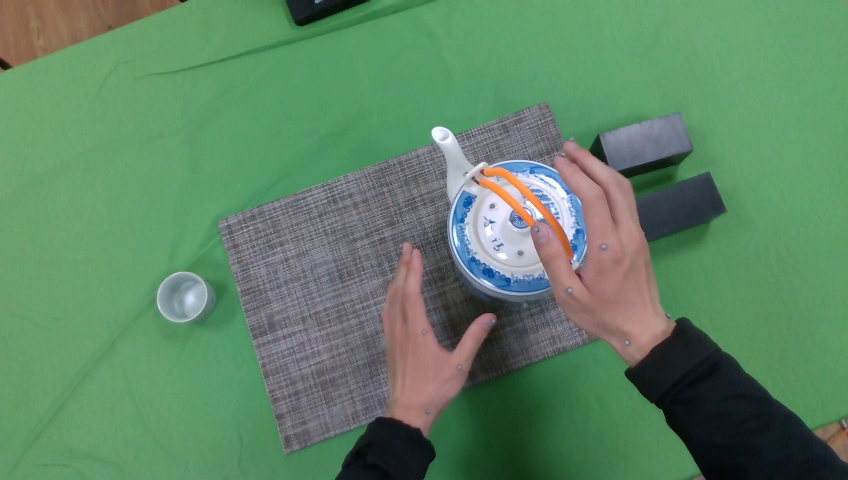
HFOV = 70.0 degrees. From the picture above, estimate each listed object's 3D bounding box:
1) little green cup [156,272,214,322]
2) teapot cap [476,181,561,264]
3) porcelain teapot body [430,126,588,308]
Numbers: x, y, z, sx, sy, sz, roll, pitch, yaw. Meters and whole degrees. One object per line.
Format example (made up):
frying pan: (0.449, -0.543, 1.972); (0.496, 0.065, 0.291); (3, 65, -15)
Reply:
little green cup: (-0.290, 0.071, 0.743); (0.061, 0.039, 0.061); (-1, 78, 4)
teapot cap: (0.093, -0.019, 0.596); (0.085, 0.044, 0.084); (-1, 76, 3)
porcelain teapot body: (0.075, -0.031, 0.640); (0.145, 0.226, 0.204); (-42, 78, -5)
